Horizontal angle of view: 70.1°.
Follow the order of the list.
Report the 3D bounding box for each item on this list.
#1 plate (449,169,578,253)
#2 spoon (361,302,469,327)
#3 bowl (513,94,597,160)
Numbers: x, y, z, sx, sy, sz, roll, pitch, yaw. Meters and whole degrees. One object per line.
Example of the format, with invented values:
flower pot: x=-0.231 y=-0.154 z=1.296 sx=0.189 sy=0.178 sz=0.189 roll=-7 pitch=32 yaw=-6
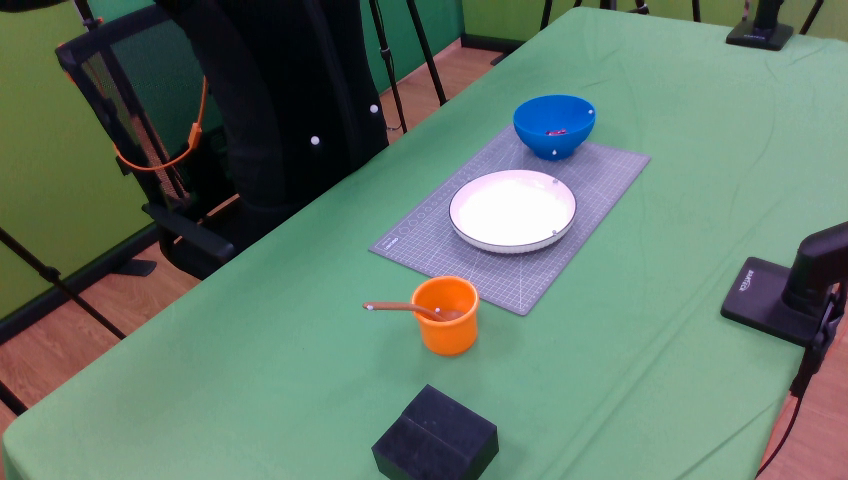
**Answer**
plate: x=0.146 y=-0.044 z=0.993 sx=0.209 sy=0.038 sz=0.208 roll=-5 pitch=40 yaw=5
spoon: x=-0.008 y=0.092 z=0.779 sx=0.041 sy=0.195 sz=0.021 roll=33 pitch=99 yaw=42
bowl: x=0.244 y=-0.202 z=1.130 sx=0.151 sy=0.077 sz=0.150 roll=-6 pitch=40 yaw=5
